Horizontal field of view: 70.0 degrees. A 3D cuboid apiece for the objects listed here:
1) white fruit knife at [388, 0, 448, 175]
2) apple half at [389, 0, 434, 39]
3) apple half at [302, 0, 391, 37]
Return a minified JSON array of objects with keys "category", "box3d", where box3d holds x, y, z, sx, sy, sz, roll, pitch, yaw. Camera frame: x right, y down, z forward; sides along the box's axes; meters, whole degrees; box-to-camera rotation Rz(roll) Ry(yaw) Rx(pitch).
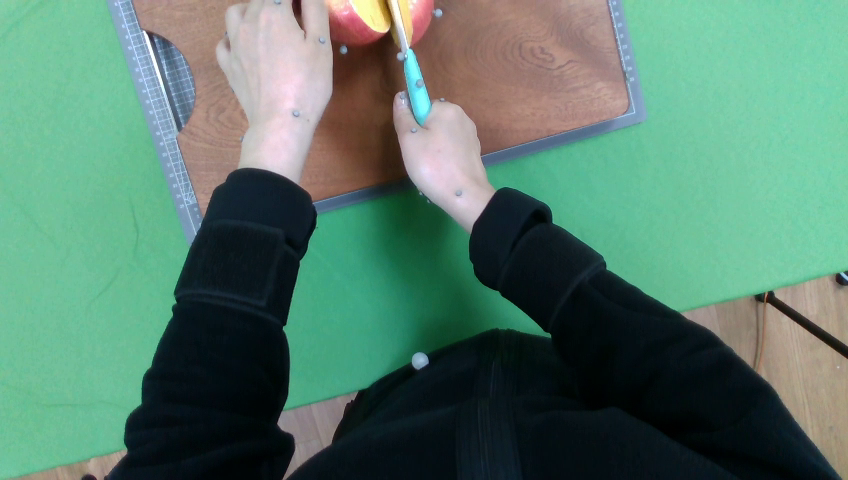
[{"category":"white fruit knife","box3d":[-0.014,-0.155,0.501,0.016,0.027,0.208,-19,101,-15]},{"category":"apple half","box3d":[-0.011,-0.204,0.494,0.033,0.081,0.081,-18,98,-13]},{"category":"apple half","box3d":[-0.069,-0.201,0.492,0.053,0.074,0.081,-20,96,27]}]
